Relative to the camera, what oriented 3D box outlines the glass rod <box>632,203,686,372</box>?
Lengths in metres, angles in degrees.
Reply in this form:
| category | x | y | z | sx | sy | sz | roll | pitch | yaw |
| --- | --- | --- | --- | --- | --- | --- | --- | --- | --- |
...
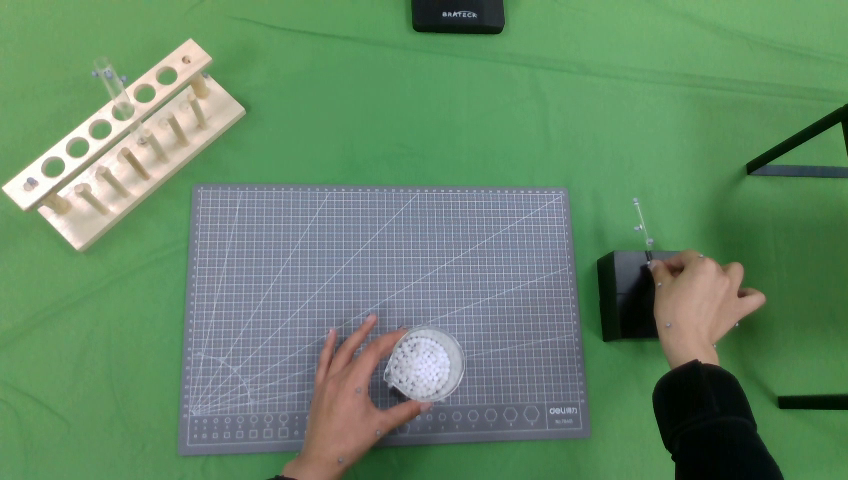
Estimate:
| category | x | y | z | sx | sy | sz | roll | pitch | yaw |
| --- | --- | --- | --- | --- | --- | --- | --- | --- | --- |
| glass rod | 0.266 | 0.052 | 0.690 | 0.008 | 0.008 | 0.198 | -10 | 78 | -9 |

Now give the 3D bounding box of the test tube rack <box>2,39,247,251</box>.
| category | x | y | z | sx | sy | sz | roll | pitch | yaw |
| --- | --- | --- | --- | --- | --- | --- | --- | --- | --- |
| test tube rack | -0.314 | -0.103 | 0.662 | 0.066 | 0.085 | 0.242 | 43 | 75 | 5 |

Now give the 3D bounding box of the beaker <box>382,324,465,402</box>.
| category | x | y | z | sx | sy | sz | roll | pitch | yaw |
| --- | --- | --- | --- | --- | --- | --- | --- | --- | --- |
| beaker | -0.006 | 0.133 | 0.637 | 0.084 | 0.100 | 0.073 | -16 | 78 | -11 |

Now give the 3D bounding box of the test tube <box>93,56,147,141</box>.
| category | x | y | z | sx | sy | sz | roll | pitch | yaw |
| --- | --- | --- | --- | --- | --- | --- | --- | --- | --- |
| test tube | -0.307 | -0.140 | 0.621 | 0.017 | 0.150 | 0.017 | 3 | 72 | -10 |
